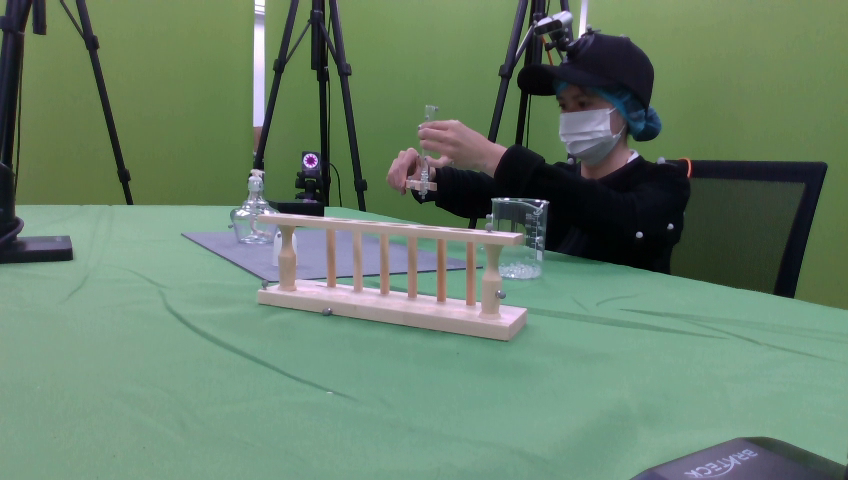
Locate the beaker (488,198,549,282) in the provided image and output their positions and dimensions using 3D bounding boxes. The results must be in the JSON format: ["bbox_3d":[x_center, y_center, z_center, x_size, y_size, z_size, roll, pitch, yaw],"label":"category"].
[{"bbox_3d":[0.120,-0.001,0.768,0.074,0.100,0.083,-1,9,-25],"label":"beaker"}]

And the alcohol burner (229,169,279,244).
[{"bbox_3d":[-0.268,-0.053,0.958,0.078,0.119,0.078,2,5,0],"label":"alcohol burner"}]

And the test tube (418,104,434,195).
[{"bbox_3d":[0.003,-0.150,1.011,0.017,0.150,0.017,5,12,-1],"label":"test tube"}]

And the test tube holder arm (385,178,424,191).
[{"bbox_3d":[-0.037,-0.101,1.085,0.013,0.015,0.177,4,7,-25],"label":"test tube holder arm"}]

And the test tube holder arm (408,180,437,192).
[{"bbox_3d":[-0.011,-0.094,1.050,0.010,0.015,0.087,0,9,-42],"label":"test tube holder arm"}]

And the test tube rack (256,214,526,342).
[{"bbox_3d":[-0.032,0.027,0.547,0.241,0.085,0.067,5,7,22],"label":"test tube rack"}]

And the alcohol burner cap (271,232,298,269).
[{"bbox_3d":[-0.175,0.012,0.760,0.034,0.048,0.034,2,8,0],"label":"alcohol burner cap"}]
